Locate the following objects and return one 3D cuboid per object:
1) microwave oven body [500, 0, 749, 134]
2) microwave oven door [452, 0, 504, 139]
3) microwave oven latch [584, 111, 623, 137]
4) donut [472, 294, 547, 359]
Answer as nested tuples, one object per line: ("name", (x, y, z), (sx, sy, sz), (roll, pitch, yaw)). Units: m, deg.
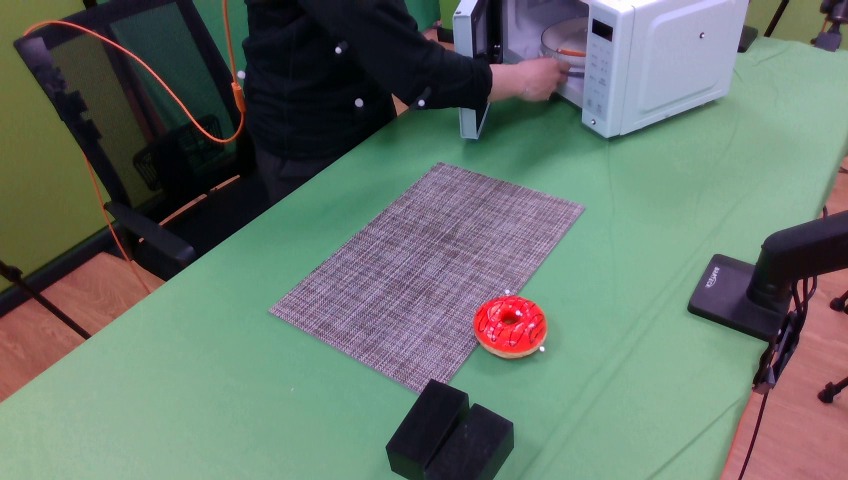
("microwave oven body", (0.382, -0.444, 1.246), (0.327, 0.261, 0.437), (-22, 42, -16))
("microwave oven door", (0.116, -0.403, 1.228), (0.039, 0.245, 0.355), (5, 42, 14))
("microwave oven latch", (0.337, -0.222, 1.142), (0.030, 0.029, 0.078), (-21, 42, -14))
("donut", (0.114, 0.114, 0.803), (0.099, 0.048, 0.098), (0, 40, 1))
